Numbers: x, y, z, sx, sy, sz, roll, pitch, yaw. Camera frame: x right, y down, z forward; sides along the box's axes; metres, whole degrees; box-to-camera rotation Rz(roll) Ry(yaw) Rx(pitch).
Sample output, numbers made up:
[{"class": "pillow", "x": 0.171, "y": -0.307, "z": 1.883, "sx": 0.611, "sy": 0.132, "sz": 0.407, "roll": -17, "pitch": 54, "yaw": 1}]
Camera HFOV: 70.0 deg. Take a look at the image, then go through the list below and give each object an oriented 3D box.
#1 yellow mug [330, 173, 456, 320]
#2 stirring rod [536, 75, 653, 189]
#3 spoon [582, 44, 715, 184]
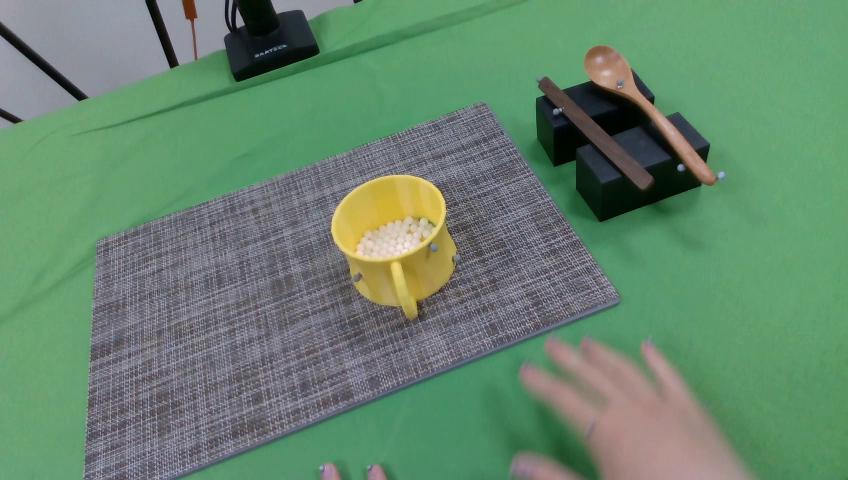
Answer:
[{"class": "yellow mug", "x": -0.022, "y": 0.010, "z": 0.522, "sx": 0.100, "sy": 0.064, "sz": 0.129, "roll": -15, "pitch": 50, "yaw": 2}, {"class": "stirring rod", "x": 0.149, "y": -0.103, "z": 0.549, "sx": 0.014, "sy": 0.006, "sz": 0.174, "roll": -49, "pitch": 47, "yaw": 21}, {"class": "spoon", "x": 0.199, "y": -0.118, "z": 0.546, "sx": 0.041, "sy": 0.022, "sz": 0.191, "roll": -20, "pitch": 51, "yaw": -5}]
